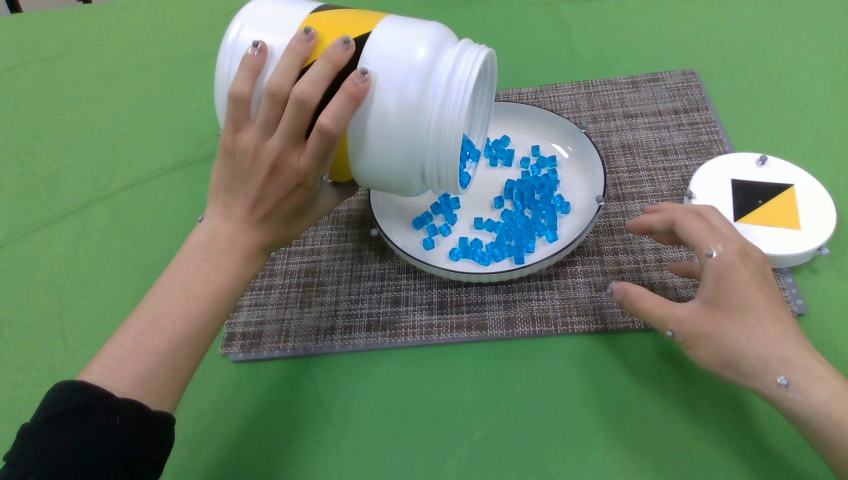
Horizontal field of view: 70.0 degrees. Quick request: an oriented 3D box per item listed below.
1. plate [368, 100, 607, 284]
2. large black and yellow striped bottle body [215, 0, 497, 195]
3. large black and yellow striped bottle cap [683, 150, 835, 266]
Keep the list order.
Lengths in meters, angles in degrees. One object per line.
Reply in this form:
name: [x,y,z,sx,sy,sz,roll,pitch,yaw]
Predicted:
plate: [0.055,-0.044,0.539,0.207,0.039,0.205,-4,52,6]
large black and yellow striped bottle body: [-0.046,-0.108,0.465,0.183,0.132,0.130,14,56,12]
large black and yellow striped bottle cap: [0.278,-0.029,0.505,0.115,0.019,0.114,-2,53,3]
